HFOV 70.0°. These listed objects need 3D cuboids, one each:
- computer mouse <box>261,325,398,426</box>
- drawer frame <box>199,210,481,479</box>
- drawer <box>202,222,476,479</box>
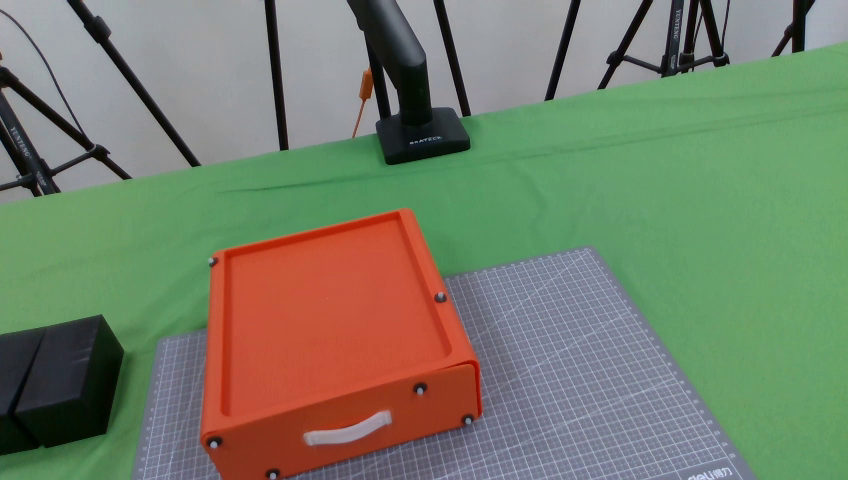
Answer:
[{"bbox_3d":[-0.080,0.110,0.507,0.117,0.041,0.062,-17,41,-2],"label":"computer mouse"},{"bbox_3d":[-0.079,0.081,0.523,0.202,0.083,0.211,-14,37,-8],"label":"drawer frame"},{"bbox_3d":[-0.078,0.083,0.521,0.195,0.074,0.209,-14,38,-7],"label":"drawer"}]
